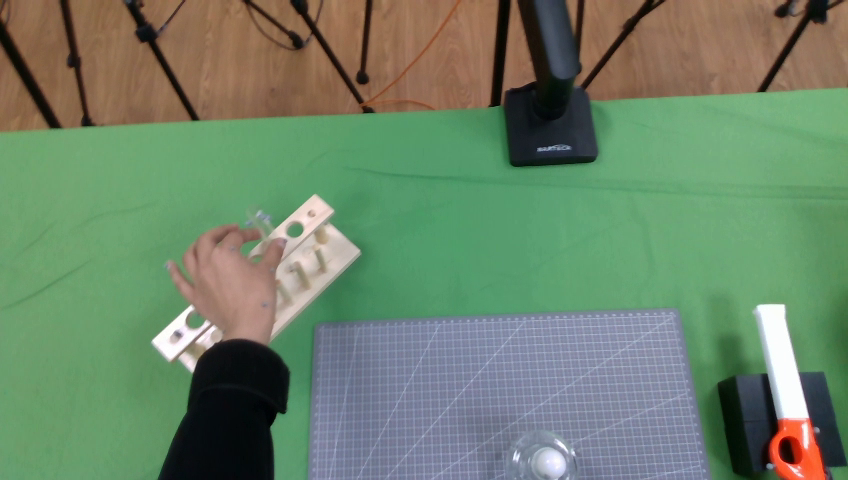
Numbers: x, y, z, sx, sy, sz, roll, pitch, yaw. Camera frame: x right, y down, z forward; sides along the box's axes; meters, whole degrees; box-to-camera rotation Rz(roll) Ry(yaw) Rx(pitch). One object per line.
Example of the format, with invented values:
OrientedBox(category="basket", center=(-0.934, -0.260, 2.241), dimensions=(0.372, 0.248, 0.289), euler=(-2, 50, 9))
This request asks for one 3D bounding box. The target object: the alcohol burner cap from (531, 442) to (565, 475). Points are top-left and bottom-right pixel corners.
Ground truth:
OrientedBox(category="alcohol burner cap", center=(0.125, 0.216, 0.599), dimensions=(0.034, 0.048, 0.033), euler=(-2, 70, 5))

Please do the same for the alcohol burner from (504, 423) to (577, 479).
OrientedBox(category="alcohol burner", center=(0.125, 0.229, 0.633), dimensions=(0.078, 0.120, 0.077), euler=(0, 66, 0))

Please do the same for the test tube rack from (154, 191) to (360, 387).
OrientedBox(category="test tube rack", center=(-0.190, 0.058, 0.725), dimensions=(0.066, 0.086, 0.242), euler=(41, 74, 16))

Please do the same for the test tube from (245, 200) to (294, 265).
OrientedBox(category="test tube", center=(-0.174, -0.005, 0.697), dimensions=(0.017, 0.151, 0.017), euler=(-1, 65, 3))

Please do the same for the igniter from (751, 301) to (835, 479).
OrientedBox(category="igniter", center=(0.390, 0.197, 0.640), dimensions=(0.057, 0.025, 0.274), euler=(0, 66, 4))
